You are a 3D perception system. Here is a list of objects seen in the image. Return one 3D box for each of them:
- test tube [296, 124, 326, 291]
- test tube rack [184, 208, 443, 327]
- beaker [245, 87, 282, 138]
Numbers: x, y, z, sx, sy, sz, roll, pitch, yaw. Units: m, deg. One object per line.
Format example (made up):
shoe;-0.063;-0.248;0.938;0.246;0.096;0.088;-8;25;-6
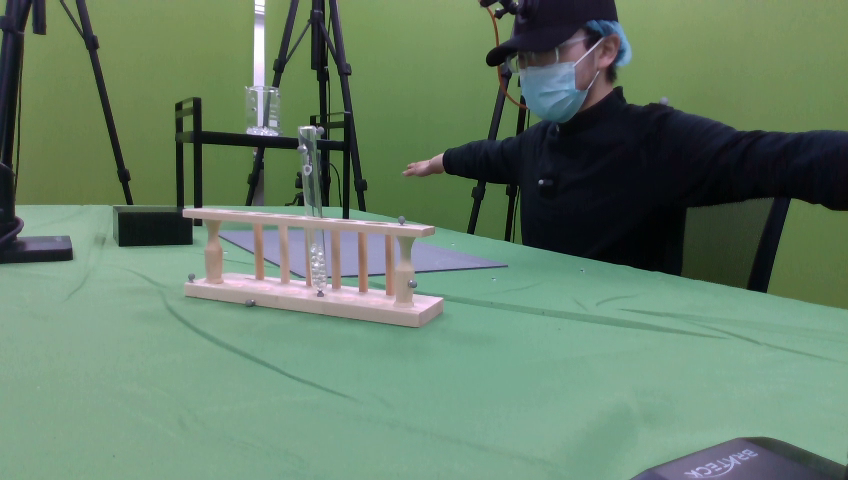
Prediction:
test tube;-0.101;-0.028;0.542;0.017;0.150;0.017;-3;10;1
test tube rack;-0.106;0.019;0.570;0.241;0.085;0.067;5;7;20
beaker;-0.337;-0.266;1.260;0.074;0.100;0.084;5;8;23
